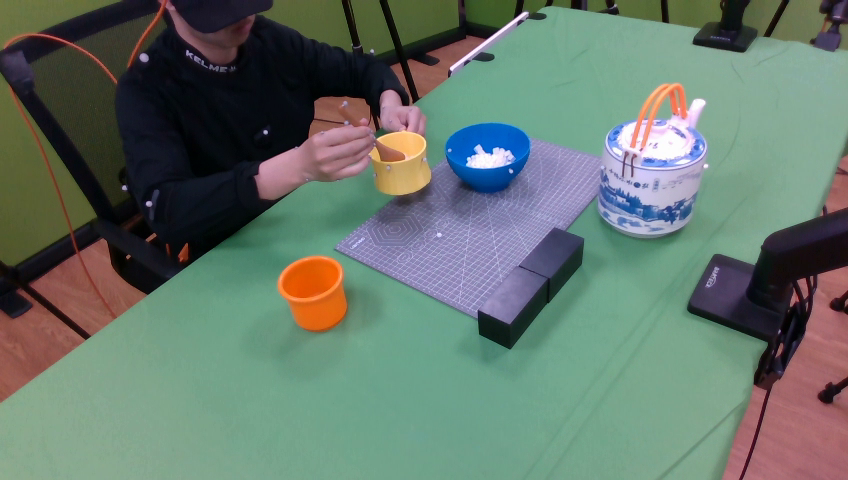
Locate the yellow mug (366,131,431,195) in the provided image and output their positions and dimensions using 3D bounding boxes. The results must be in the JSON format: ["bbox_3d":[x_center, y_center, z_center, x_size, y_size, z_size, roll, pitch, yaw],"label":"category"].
[{"bbox_3d":[-0.041,-0.139,1.029,0.100,0.064,0.130,-2,39,10],"label":"yellow mug"}]

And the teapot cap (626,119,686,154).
[{"bbox_3d":[0.338,-0.153,0.882,0.085,0.044,0.085,-3,38,3],"label":"teapot cap"}]

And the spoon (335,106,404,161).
[{"bbox_3d":[-0.084,-0.154,0.929,0.041,0.195,0.021,-32,57,13],"label":"spoon"}]

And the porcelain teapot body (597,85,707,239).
[{"bbox_3d":[0.362,-0.137,0.921,0.144,0.226,0.206,29,51,36],"label":"porcelain teapot body"}]

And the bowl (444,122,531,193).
[{"bbox_3d":[0.113,-0.136,1.063,0.151,0.077,0.150,-4,41,4],"label":"bowl"}]
